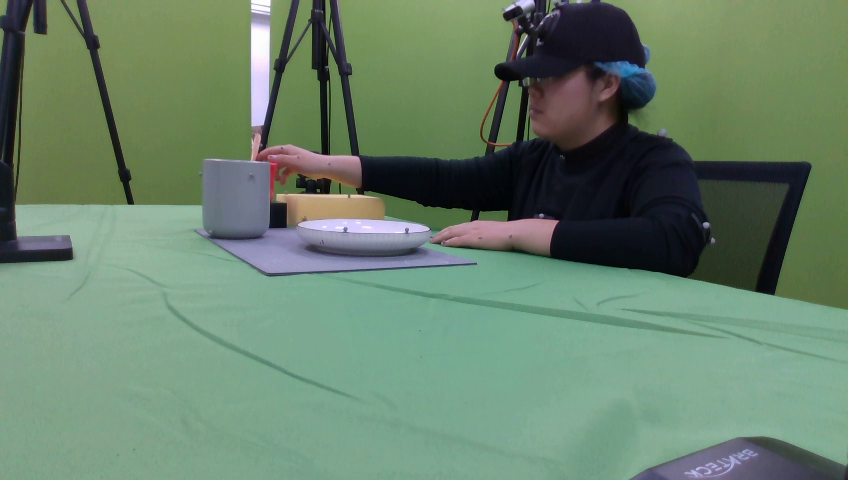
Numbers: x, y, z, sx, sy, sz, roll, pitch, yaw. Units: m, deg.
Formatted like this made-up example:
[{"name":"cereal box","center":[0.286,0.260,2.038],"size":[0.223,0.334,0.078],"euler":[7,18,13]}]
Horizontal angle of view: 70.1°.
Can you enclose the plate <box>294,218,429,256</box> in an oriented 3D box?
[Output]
[{"name":"plate","center":[-0.096,-0.005,0.936],"size":[0.208,0.039,0.207],"euler":[3,7,0]}]

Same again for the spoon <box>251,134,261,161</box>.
[{"name":"spoon","center":[-0.341,-0.152,1.206],"size":[0.042,0.021,0.193],"euler":[2,51,-6]}]

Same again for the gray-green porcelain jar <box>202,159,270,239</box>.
[{"name":"gray-green porcelain jar","center":[-0.310,-0.068,0.999],"size":[0.106,0.126,0.106],"euler":[3,8,0]}]

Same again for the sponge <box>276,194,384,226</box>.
[{"name":"sponge","center":[-0.203,-0.067,1.312],"size":[0.208,0.061,0.117],"euler":[-3,9,-36]}]
